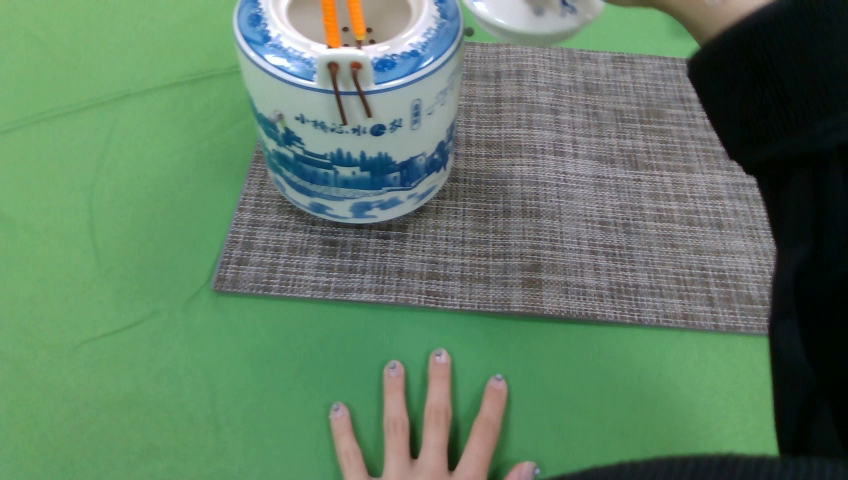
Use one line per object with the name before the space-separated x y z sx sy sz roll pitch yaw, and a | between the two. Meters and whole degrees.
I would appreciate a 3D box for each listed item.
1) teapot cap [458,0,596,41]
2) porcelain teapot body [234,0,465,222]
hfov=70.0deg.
teapot cap | 0.057 -0.150 0.346 0.085 0.044 0.084 1 54 0
porcelain teapot body | -0.048 -0.148 0.415 0.145 0.227 0.203 -1 54 -3
